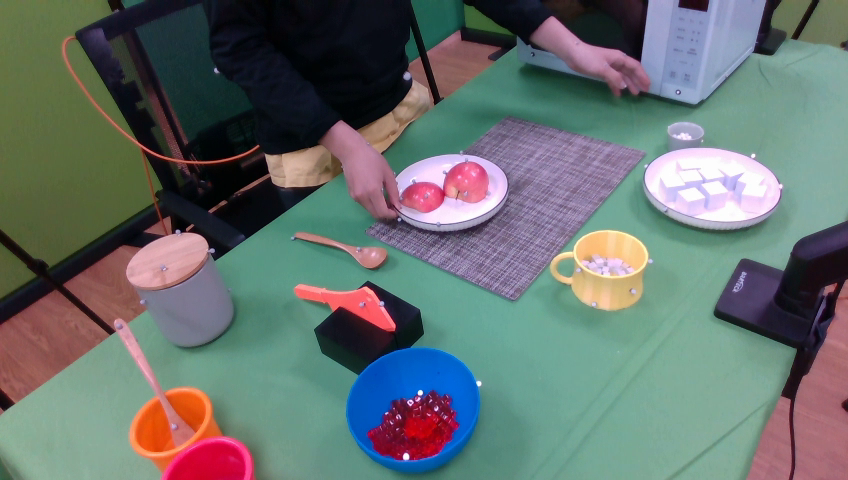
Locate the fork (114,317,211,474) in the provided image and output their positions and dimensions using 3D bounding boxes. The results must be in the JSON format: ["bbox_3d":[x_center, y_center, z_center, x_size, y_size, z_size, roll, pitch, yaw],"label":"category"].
[{"bbox_3d":[-0.309,0.179,0.707,0.028,0.018,0.207,-30,89,-24],"label":"fork"}]

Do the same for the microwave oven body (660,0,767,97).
[{"bbox_3d":[0.473,-0.516,1.313,0.438,0.261,0.327,26,51,34],"label":"microwave oven body"}]

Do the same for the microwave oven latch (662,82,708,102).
[{"bbox_3d":[0.518,-0.298,1.202,0.078,0.029,0.030,28,53,35],"label":"microwave oven latch"}]

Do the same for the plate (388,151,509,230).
[{"bbox_3d":[0.044,-0.083,1.042,0.209,0.038,0.208,-4,40,4],"label":"plate"}]

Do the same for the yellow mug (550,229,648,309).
[{"bbox_3d":[0.245,0.040,0.857,0.130,0.064,0.099,1,42,11],"label":"yellow mug"}]

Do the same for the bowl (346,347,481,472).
[{"bbox_3d":[-0.008,0.205,0.691,0.151,0.077,0.150,-4,40,4],"label":"bowl"}]

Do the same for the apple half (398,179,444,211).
[{"bbox_3d":[-0.004,-0.088,1.045,0.081,0.033,0.081,-1,43,1],"label":"apple half"}]

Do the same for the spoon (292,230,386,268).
[{"bbox_3d":[-0.141,0.007,0.982,0.192,0.022,0.041,17,67,25],"label":"spoon"}]

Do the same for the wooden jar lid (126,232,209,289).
[{"bbox_3d":[-0.340,0.030,0.808,0.108,0.021,0.108,-5,39,5],"label":"wooden jar lid"}]

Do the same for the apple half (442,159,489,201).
[{"bbox_3d":[0.074,-0.110,1.047,0.080,0.053,0.075,21,45,30],"label":"apple half"}]

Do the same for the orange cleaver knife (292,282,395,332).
[{"bbox_3d":[-0.116,0.091,0.835,0.209,0.077,0.012,2,32,48],"label":"orange cleaver knife"}]

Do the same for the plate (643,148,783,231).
[{"bbox_3d":[0.464,-0.080,0.986,0.207,0.039,0.206,-4,41,4],"label":"plate"}]

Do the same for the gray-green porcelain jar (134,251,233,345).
[{"bbox_3d":[-0.334,0.076,0.849,0.106,0.127,0.105,-4,41,4],"label":"gray-green porcelain jar"}]

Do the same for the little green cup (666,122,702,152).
[{"bbox_3d":[0.471,-0.184,1.102,0.061,0.039,0.061,-5,41,5],"label":"little green cup"}]

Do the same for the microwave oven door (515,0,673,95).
[{"bbox_3d":[0.344,-0.458,1.256,0.353,0.245,0.039,26,51,33],"label":"microwave oven door"}]
